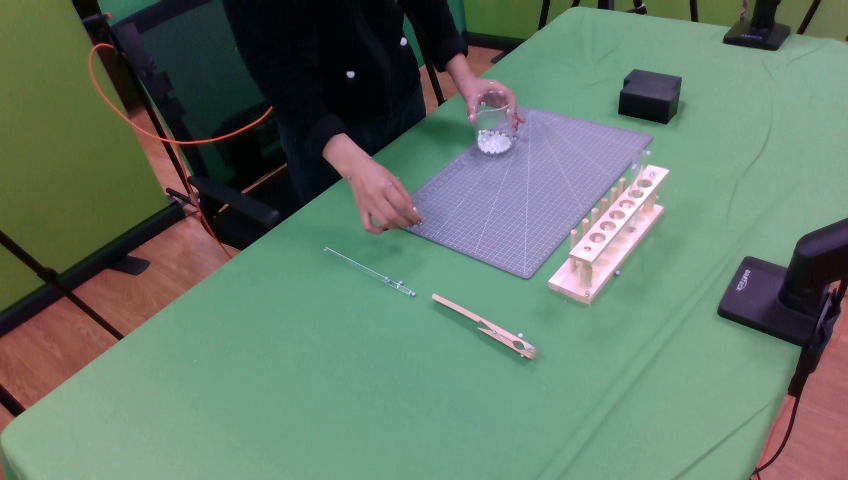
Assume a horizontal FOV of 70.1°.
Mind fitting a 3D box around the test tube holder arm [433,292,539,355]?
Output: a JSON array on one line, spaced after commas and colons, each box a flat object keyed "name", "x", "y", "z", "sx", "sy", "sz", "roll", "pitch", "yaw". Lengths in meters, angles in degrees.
[{"name": "test tube holder arm", "x": 0.081, "y": 0.113, "z": 0.832, "sx": 0.177, "sy": 0.015, "sz": 0.013, "roll": 28, "pitch": 82, "yaw": 36}]

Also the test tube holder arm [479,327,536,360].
[{"name": "test tube holder arm", "x": 0.110, "y": 0.134, "z": 0.805, "sx": 0.087, "sy": 0.015, "sz": 0.010, "roll": 29, "pitch": 83, "yaw": 36}]

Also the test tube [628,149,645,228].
[{"name": "test tube", "x": 0.309, "y": -0.071, "z": 0.882, "sx": 0.017, "sy": 0.151, "sz": 0.017, "roll": -7, "pitch": 47, "yaw": 8}]

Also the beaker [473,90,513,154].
[{"name": "beaker", "x": 0.129, "y": -0.218, "z": 1.136, "sx": 0.084, "sy": 0.101, "sz": 0.073, "roll": -36, "pitch": 47, "yaw": -27}]

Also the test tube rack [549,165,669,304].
[{"name": "test tube rack", "x": 0.279, "y": -0.018, "z": 0.902, "sx": 0.066, "sy": 0.085, "sz": 0.243, "roll": 24, "pitch": 50, "yaw": 33}]

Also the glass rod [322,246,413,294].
[{"name": "glass rod", "x": -0.093, "y": 0.045, "z": 0.955, "sx": 0.198, "sy": 0.008, "sz": 0.008, "roll": 24, "pitch": 51, "yaw": 33}]
